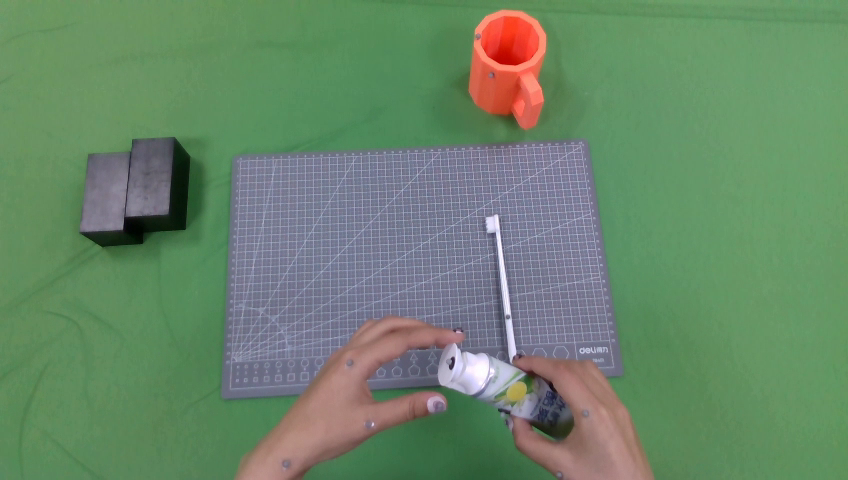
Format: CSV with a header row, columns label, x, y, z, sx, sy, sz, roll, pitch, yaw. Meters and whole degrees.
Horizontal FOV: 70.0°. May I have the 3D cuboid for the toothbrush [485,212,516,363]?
label,x,y,z,sx,sy,sz,roll,pitch,yaw
toothbrush,0.090,0.053,0.708,0.016,0.014,0.180,-7,72,2

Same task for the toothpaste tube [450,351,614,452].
label,x,y,z,sx,sy,sz,roll,pitch,yaw
toothpaste tube,0.088,0.132,0.504,0.166,0.034,0.055,26,98,-22

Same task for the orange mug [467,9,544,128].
label,x,y,z,sx,sy,sz,roll,pitch,yaw
orange mug,0.107,-0.206,0.751,0.083,0.101,0.125,-24,69,-7

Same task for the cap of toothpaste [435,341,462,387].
label,x,y,z,sx,sy,sz,roll,pitch,yaw
cap of toothpaste,0.020,0.097,0.472,0.011,0.037,0.037,15,71,-15
